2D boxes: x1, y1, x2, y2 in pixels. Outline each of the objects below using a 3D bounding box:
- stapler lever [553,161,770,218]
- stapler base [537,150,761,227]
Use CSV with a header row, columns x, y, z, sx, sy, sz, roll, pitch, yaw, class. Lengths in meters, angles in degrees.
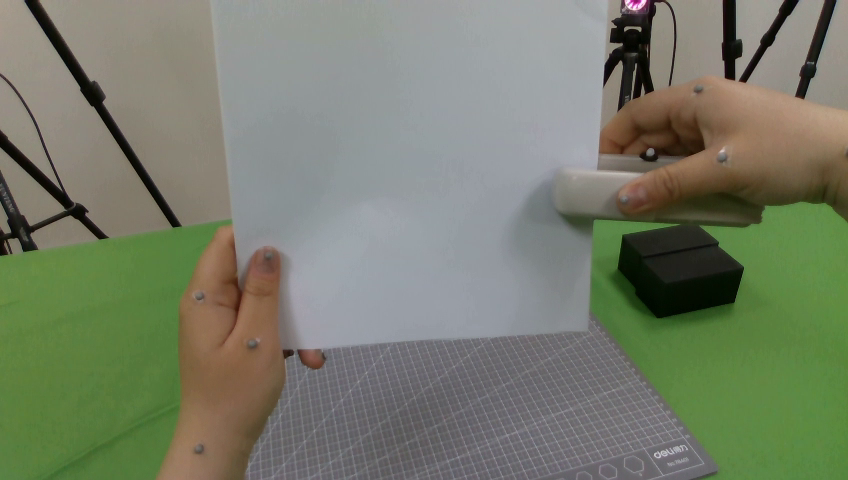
x,y,z,sx,sy,sz,roll,pitch,yaw,class
0.133,-0.029,0.343,0.118,0.027,0.040,5,11,13,stapler lever
0.134,-0.030,0.358,0.130,0.041,0.024,3,11,3,stapler base
